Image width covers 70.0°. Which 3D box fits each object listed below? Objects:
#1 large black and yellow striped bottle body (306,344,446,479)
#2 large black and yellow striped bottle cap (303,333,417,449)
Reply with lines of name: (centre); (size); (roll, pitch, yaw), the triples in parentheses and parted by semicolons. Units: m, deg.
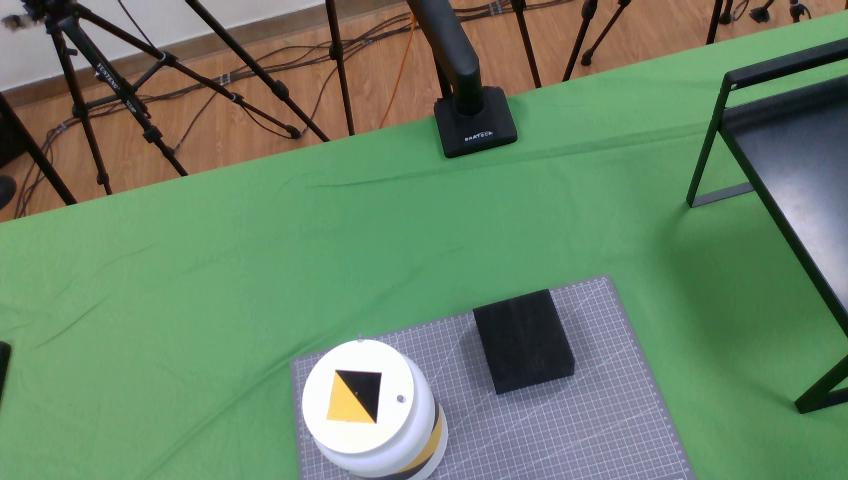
large black and yellow striped bottle body: (-0.051, 0.190, 0.678); (0.130, 0.186, 0.129); (-5, 60, 8)
large black and yellow striped bottle cap: (-0.064, 0.149, 0.605); (0.115, 0.019, 0.114); (-5, 60, 10)
